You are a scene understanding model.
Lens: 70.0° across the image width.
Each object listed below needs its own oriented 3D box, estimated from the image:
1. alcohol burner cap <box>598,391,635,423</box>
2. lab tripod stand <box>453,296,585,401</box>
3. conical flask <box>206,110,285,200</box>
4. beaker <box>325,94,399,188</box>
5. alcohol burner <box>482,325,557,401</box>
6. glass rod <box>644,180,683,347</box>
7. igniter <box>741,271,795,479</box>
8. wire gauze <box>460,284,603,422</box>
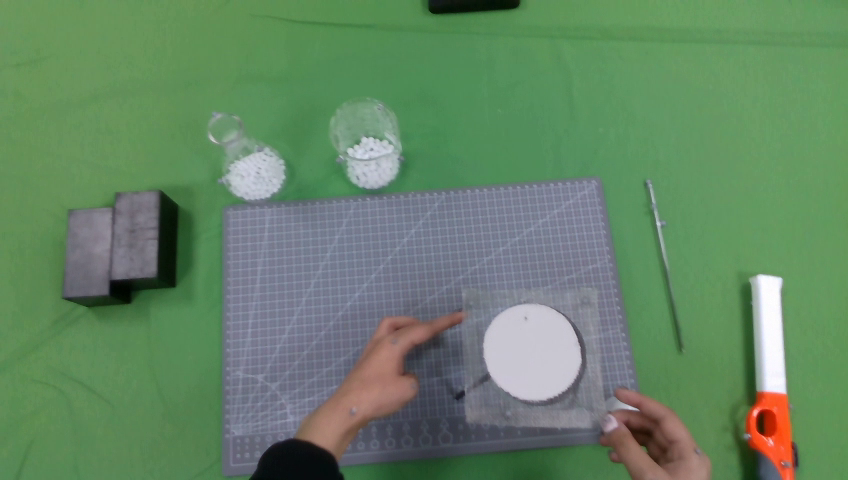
[{"bbox_3d":[0.204,0.175,0.635,0.034,0.048,0.033,0,74,1],"label":"alcohol burner cap"},{"bbox_3d":[0.097,0.118,0.603,0.148,0.132,0.147,0,76,0],"label":"lab tripod stand"},{"bbox_3d":[-0.202,-0.098,0.669,0.075,0.122,0.075,0,74,0],"label":"conical flask"},{"bbox_3d":[-0.063,-0.106,0.685,0.084,0.101,0.074,30,77,7],"label":"beaker"},{"bbox_3d":[0.098,0.122,0.612,0.078,0.120,0.077,0,74,2],"label":"alcohol burner"},{"bbox_3d":[0.275,0.024,0.697,0.008,0.008,0.198,-5,74,-2],"label":"glass rod"},{"bbox_3d":[0.366,0.169,0.649,0.057,0.025,0.275,9,74,-9],"label":"igniter"},{"bbox_3d":[0.094,0.099,0.538,0.125,0.011,0.121,1,76,1],"label":"wire gauze"}]
